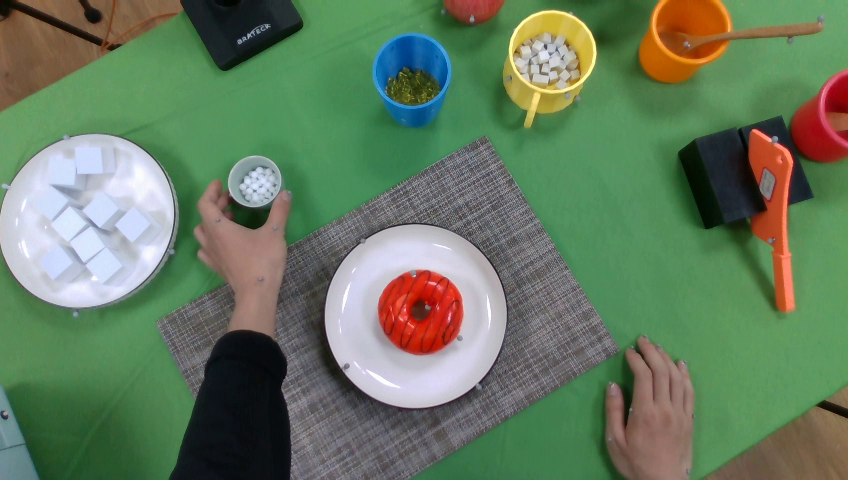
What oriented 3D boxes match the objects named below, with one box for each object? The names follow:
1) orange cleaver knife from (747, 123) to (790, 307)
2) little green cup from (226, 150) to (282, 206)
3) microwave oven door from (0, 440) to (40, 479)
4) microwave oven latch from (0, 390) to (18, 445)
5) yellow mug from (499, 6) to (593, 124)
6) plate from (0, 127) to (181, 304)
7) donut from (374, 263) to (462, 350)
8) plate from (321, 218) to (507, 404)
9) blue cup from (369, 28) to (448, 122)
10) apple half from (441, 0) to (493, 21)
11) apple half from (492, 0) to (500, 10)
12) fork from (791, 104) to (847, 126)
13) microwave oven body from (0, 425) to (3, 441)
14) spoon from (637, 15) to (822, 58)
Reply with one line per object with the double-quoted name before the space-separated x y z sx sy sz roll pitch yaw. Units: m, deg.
"orange cleaver knife" 0.386 -0.025 0.680 0.012 0.076 0.213 -16 112 1
"little green cup" -0.197 -0.070 0.714 0.061 0.039 0.061 0 78 3
"microwave oven door" -0.382 0.367 0.539 0.039 0.244 0.354 -28 82 -3
"microwave oven latch" -0.479 0.188 0.667 0.030 0.029 0.079 -24 83 -3
"yellow mug" 0.137 -0.199 0.714 0.100 0.064 0.130 18 84 3
"plate" -0.387 -0.028 0.713 0.208 0.039 0.207 0 82 1
"donut" -0.007 0.075 0.679 0.099 0.048 0.099 0 83 2
"plate" -0.011 0.079 0.690 0.209 0.038 0.208 0 83 1
"blue cup" -0.016 -0.179 0.696 0.092 0.100 0.092 0 83 0
"apple half" 0.044 -0.301 0.726 0.053 0.075 0.080 -25 86 0
"apple half" 0.079 -0.318 0.726 0.033 0.081 0.081 -24 82 0
"fork" 0.517 -0.136 0.661 0.205 0.019 0.028 13 69 45
"microwave oven body" -0.531 0.397 0.542 0.326 0.261 0.440 -27 83 -3
"spoon" 0.331 -0.230 0.675 0.022 0.192 0.041 24 80 -40
